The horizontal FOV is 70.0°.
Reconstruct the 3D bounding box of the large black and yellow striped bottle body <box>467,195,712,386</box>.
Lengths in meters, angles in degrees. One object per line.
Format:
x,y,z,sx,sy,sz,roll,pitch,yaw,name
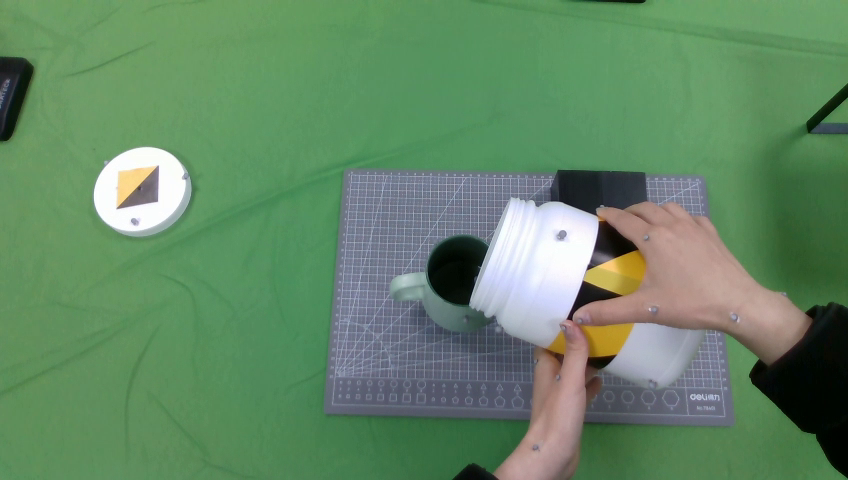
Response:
0.143,0.041,0.548,0.184,0.131,0.130,21,72,3,large black and yellow striped bottle body

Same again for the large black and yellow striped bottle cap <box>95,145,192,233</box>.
-0.348,-0.064,0.751,0.115,0.019,0.114,0,70,1,large black and yellow striped bottle cap

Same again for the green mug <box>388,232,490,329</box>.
0.023,0.047,0.660,0.125,0.105,0.092,-6,71,-1,green mug
